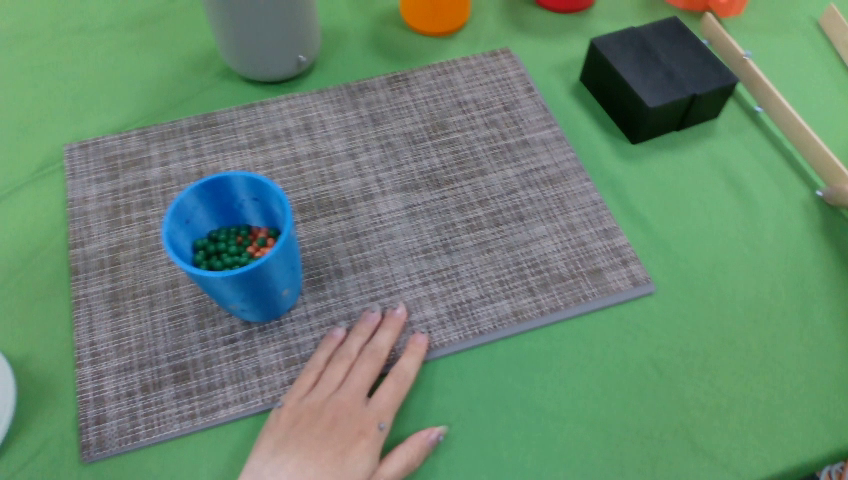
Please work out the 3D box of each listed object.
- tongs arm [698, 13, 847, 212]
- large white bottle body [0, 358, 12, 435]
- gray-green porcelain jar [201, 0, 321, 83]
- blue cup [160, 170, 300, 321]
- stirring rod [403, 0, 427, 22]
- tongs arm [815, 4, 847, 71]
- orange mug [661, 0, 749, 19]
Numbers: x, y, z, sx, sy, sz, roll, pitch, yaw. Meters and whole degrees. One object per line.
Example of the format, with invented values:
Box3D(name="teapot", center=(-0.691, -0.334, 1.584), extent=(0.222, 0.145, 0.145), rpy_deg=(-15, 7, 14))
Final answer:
Box3D(name="tongs arm", center=(0.377, -0.083, 0.564), extent=(0.051, 0.027, 0.381), rpy_deg=(-11, 60, -15))
Box3D(name="large white bottle body", center=(-0.355, 0.081, 0.351), extent=(0.131, 0.186, 0.129), rpy_deg=(1, 58, -1))
Box3D(name="gray-green porcelain jar", center=(-0.157, -0.226, 0.584), extent=(0.106, 0.127, 0.105), rpy_deg=(1, 58, -1))
Box3D(name="blue cup", center=(-0.131, 0.013, 0.445), extent=(0.092, 0.101, 0.092), rpy_deg=(0, 59, 1))
Box3D(name="stirring rod", center=(0.036, -0.301, 0.630), extent=(0.176, 0.006, 0.014), rpy_deg=(-47, 66, 20))
Box3D(name="tongs arm", center=(0.458, -0.094, 0.580), extent=(0.028, 0.028, 0.383), rpy_deg=(2, 58, -11))
Box3D(name="orange mug", center=(0.318, -0.308, 0.664), extent=(0.083, 0.102, 0.125), rpy_deg=(-17, 55, -11))
